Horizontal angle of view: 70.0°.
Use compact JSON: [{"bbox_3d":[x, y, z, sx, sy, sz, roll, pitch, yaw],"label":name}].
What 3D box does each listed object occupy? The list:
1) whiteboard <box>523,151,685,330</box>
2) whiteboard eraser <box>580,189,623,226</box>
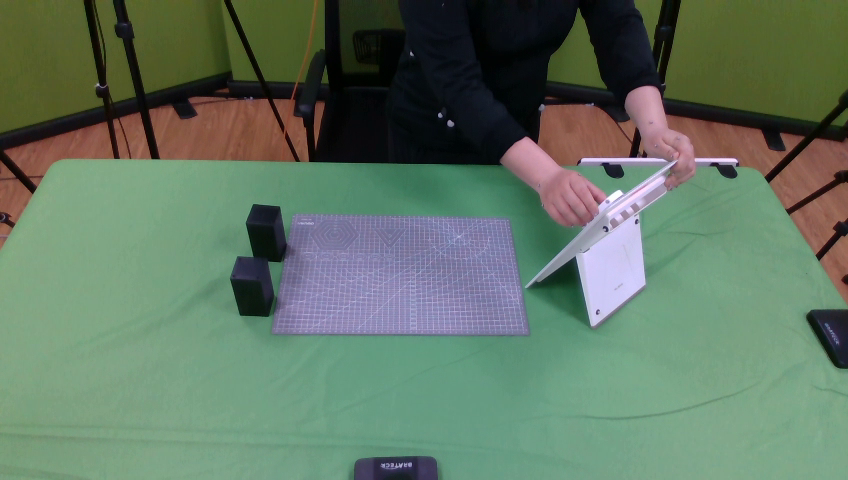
[{"bbox_3d":[0.346,0.024,1.047,0.217,0.306,0.143,-30,73,-29],"label":"whiteboard"},{"bbox_3d":[0.288,-0.049,0.984,0.041,0.101,0.019,-31,75,-29],"label":"whiteboard eraser"}]
